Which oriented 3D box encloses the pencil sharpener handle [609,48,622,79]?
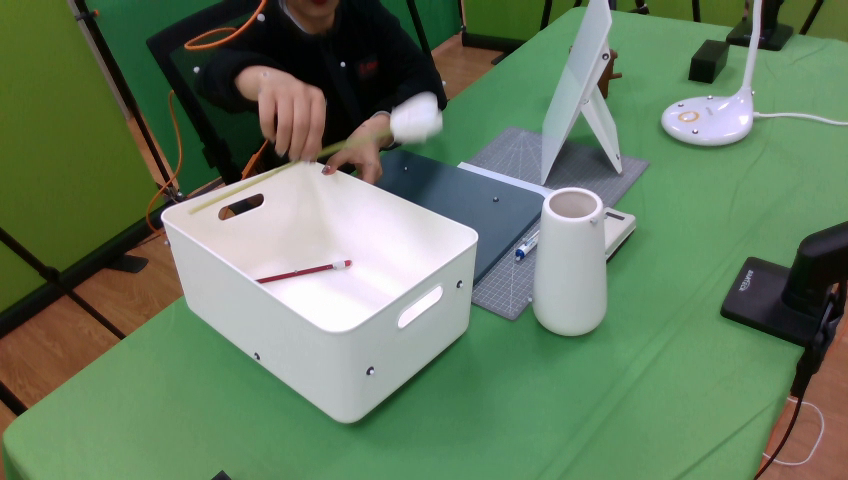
[{"bbox_3d":[0.395,-0.368,1.254,0.031,0.068,0.036,-10,32,-1],"label":"pencil sharpener handle"}]

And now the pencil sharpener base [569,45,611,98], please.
[{"bbox_3d":[0.346,-0.352,1.263,0.077,0.107,0.061,-10,40,-1],"label":"pencil sharpener base"}]

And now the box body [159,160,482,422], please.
[{"bbox_3d":[-0.137,0.048,0.813,0.361,0.161,0.255,25,39,33],"label":"box body"}]

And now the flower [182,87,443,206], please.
[{"bbox_3d":[-0.145,-0.100,0.720,0.360,0.038,0.044,-18,64,17],"label":"flower"}]

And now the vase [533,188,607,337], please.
[{"bbox_3d":[0.187,0.033,0.771,0.098,0.201,0.097,-6,41,6],"label":"vase"}]

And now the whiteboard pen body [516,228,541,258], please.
[{"bbox_3d":[0.192,-0.015,0.964,0.017,0.017,0.141,26,51,34],"label":"whiteboard pen body"}]

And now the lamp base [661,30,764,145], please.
[{"bbox_3d":[0.535,-0.287,1.096,0.179,0.181,0.159,-10,40,-4],"label":"lamp base"}]

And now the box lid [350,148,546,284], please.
[{"bbox_3d":[-0.002,-0.055,1.052,0.368,0.015,0.264,23,49,32],"label":"box lid"}]

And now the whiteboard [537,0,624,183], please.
[{"bbox_3d":[0.316,-0.256,1.047,0.144,0.306,0.216,15,42,-1],"label":"whiteboard"}]

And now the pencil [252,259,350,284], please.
[{"bbox_3d":[-0.210,0.053,0.936,0.195,0.012,0.012,-12,39,-18],"label":"pencil"}]

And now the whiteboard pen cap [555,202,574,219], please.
[{"bbox_3d":[0.230,-0.048,0.994,0.018,0.018,0.033,26,54,34],"label":"whiteboard pen cap"}]

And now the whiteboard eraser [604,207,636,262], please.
[{"bbox_3d":[0.272,-0.003,0.919,0.055,0.042,0.113,27,51,32],"label":"whiteboard eraser"}]
